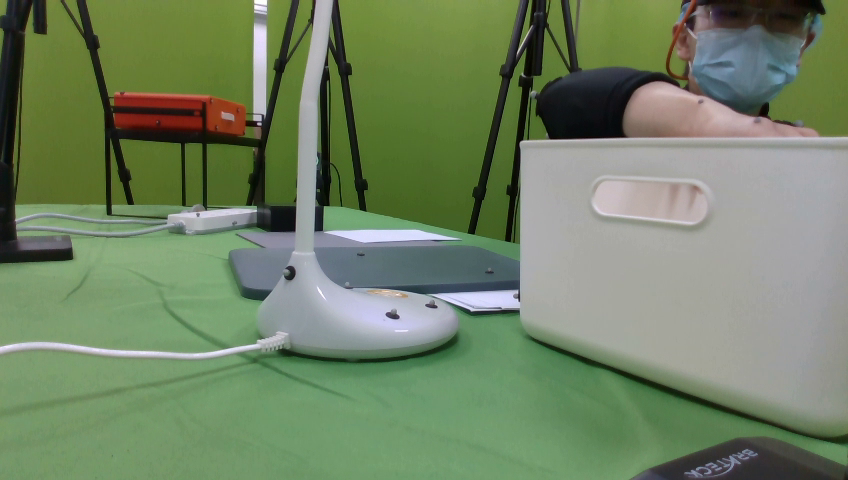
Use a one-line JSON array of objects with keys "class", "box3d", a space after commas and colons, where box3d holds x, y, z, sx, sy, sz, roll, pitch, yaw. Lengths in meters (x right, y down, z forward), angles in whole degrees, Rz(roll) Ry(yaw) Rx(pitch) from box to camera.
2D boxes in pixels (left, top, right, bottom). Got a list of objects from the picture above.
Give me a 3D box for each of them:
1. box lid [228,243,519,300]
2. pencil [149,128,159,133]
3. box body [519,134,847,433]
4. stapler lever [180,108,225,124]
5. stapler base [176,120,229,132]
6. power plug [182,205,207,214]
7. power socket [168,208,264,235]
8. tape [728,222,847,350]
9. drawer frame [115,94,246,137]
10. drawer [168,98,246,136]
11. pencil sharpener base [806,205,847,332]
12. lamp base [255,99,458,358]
[{"class": "box lid", "box3d": [-0.044, 0.033, 0.757, 0.373, 0.015, 0.262, -1, 9, -22]}, {"class": "pencil", "box3d": [-0.528, -0.258, 1.360, 0.012, 0.012, 0.195, 8, 20, 35]}, {"class": "box body", "box3d": [0.279, 0.005, 0.485, 0.366, 0.160, 0.253, -3, 9, -36]}, {"class": "stapler lever", "box3d": [-0.496, -0.281, 1.359, 0.027, 0.040, 0.118, 2, 8, 22]}, {"class": "stapler base", "box3d": [-0.496, -0.257, 1.364, 0.041, 0.024, 0.131, 2, 9, 22]}, {"class": "power plug", "box3d": [-0.455, -0.041, 1.196, 0.052, 0.035, 0.072, 1, 41, 23]}, {"class": "power socket", "box3d": [-0.381, -0.038, 1.129, 0.072, 0.032, 0.227, 4, 8, 17]}, {"class": "tape", "box3d": [0.294, 0.031, 0.455, 0.117, 0.052, 0.116, 5, 24, -2]}, {"class": "drawer frame", "box3d": [-0.543, -0.281, 1.374, 0.213, 0.082, 0.201, 2, 8, 4]}, {"class": "drawer", "box3d": [-0.539, -0.279, 1.374, 0.212, 0.073, 0.194, 2, 8, 5]}, {"class": "pencil sharpener base", "box3d": [0.386, 0.027, 0.519, 0.062, 0.107, 0.076, -4, 11, -43]}, {"class": "lamp base", "box3d": [-0.056, -0.013, 0.462, 0.160, 0.180, 0.180, 6, 11, 27]}]
